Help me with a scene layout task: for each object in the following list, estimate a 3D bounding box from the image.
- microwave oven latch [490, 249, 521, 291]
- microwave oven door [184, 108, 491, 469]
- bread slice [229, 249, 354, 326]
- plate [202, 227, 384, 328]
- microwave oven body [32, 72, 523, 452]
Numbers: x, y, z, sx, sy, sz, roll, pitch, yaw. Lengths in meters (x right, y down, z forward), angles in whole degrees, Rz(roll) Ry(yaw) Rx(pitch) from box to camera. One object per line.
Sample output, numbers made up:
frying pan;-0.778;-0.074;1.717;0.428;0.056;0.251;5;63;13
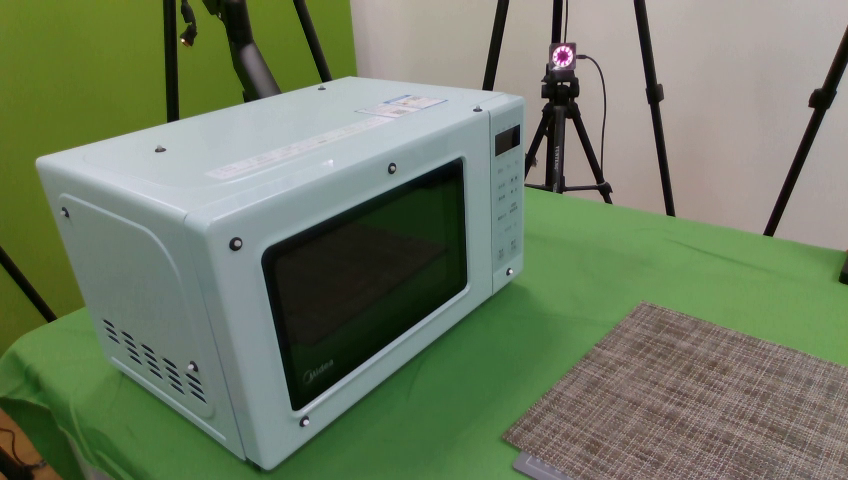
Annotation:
microwave oven latch;0.099;0.037;0.796;0.030;0.030;0.079;18;34;36
microwave oven door;-0.047;0.027;0.601;0.039;0.245;0.356;16;33;36
bread slice;-0.151;0.047;0.715;0.132;0.019;0.104;-27;35;-33
plate;-0.149;0.045;0.710;0.209;0.038;0.207;-4;26;2
microwave oven body;-0.134;-0.017;0.717;0.323;0.262;0.442;17;34;35
